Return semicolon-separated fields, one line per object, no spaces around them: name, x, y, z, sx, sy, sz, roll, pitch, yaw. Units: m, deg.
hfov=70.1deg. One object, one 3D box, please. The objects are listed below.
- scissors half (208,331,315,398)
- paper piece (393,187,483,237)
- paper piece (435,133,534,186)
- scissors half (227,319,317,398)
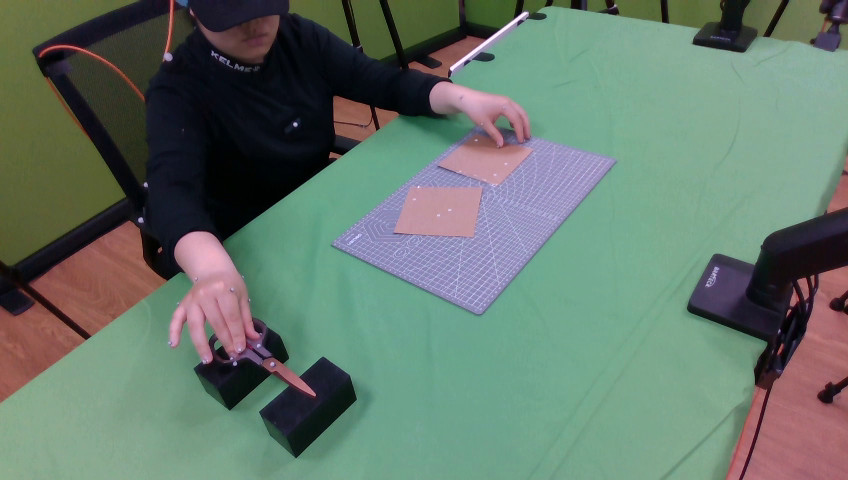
scissors half;-0.201;0.155;0.742;0.174;0.013;0.040;20;38;24
paper piece;0.027;-0.051;1.033;0.135;0.004;0.135;3;41;12
paper piece;0.116;-0.156;1.143;0.135;0.009;0.138;25;48;27
scissors half;-0.189;0.146;0.755;0.040;0.013;0.173;-32;48;-32
